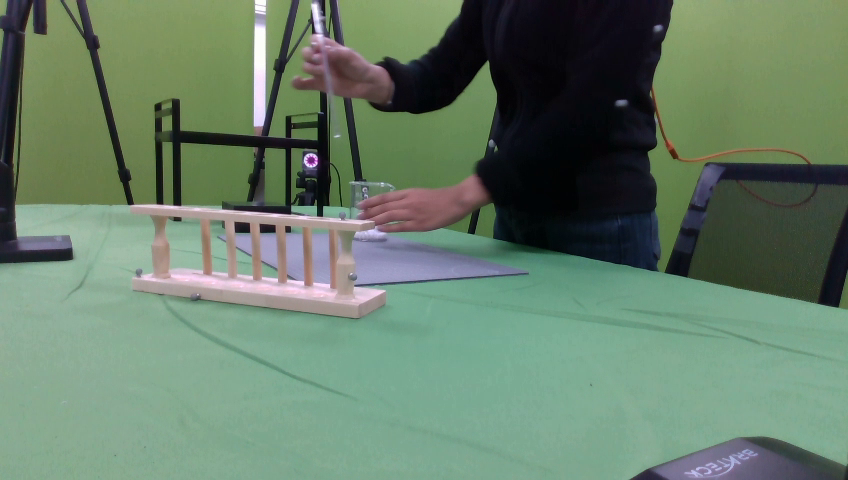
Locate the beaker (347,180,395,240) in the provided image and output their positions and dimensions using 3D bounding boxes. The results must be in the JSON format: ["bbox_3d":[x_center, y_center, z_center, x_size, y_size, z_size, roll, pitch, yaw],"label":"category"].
[{"bbox_3d":[-0.094,-0.052,1.053,0.084,0.100,0.074,1,8,-13],"label":"beaker"}]

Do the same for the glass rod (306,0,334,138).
[{"bbox_3d":[-0.142,-0.235,0.826,0.008,0.199,0.008,-11,-7,-1],"label":"glass rod"}]

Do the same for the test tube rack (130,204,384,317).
[{"bbox_3d":[-0.163,0.013,0.589,0.242,0.085,0.067,5,8,17],"label":"test tube rack"}]
